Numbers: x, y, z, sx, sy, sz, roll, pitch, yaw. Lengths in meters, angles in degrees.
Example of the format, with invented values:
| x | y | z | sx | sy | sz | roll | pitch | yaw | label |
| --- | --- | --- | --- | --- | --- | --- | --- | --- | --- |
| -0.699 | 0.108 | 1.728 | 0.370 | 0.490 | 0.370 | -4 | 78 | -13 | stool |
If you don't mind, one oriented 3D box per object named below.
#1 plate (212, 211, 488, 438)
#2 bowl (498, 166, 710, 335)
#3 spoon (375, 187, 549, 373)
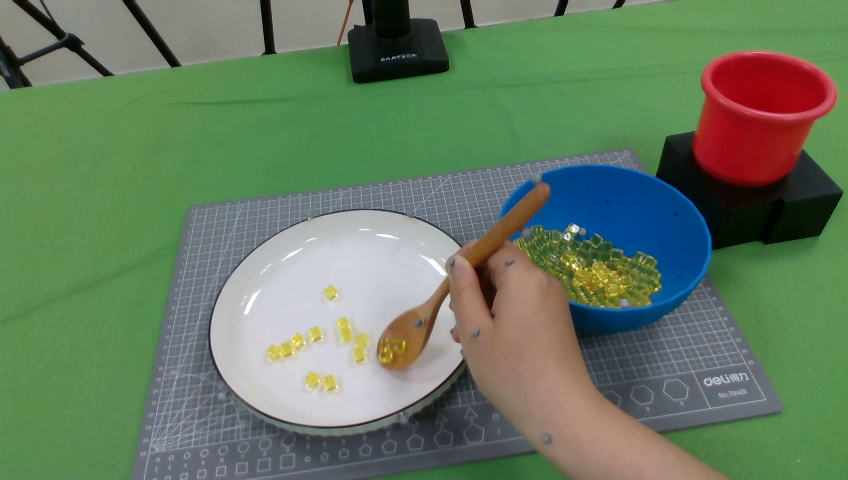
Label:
| x | y | z | sx | sy | sz | roll | pitch | yaw | label |
| --- | --- | --- | --- | --- | --- | --- | --- | --- | --- |
| -0.055 | 0.061 | 0.472 | 0.207 | 0.039 | 0.205 | -2 | 46 | 3 | plate |
| 0.130 | 0.020 | 0.465 | 0.151 | 0.077 | 0.150 | -3 | 46 | 3 | bowl |
| 0.017 | 0.032 | 0.393 | 0.022 | 0.194 | 0.041 | 10 | 48 | -28 | spoon |
